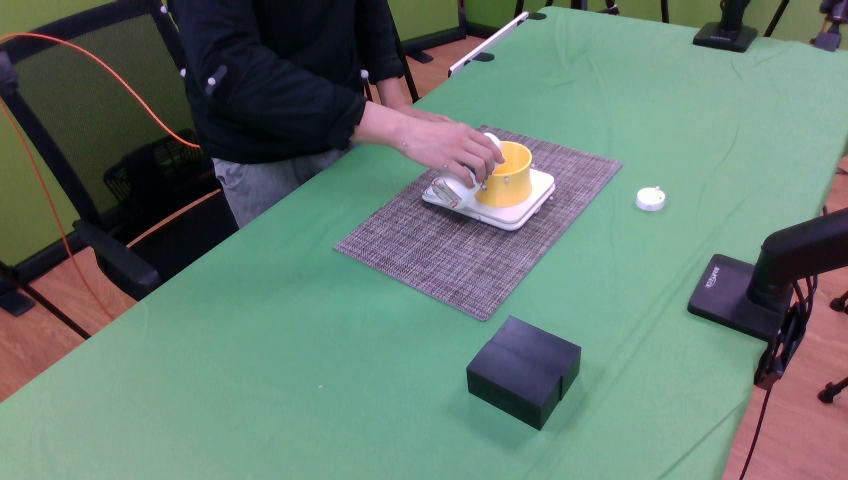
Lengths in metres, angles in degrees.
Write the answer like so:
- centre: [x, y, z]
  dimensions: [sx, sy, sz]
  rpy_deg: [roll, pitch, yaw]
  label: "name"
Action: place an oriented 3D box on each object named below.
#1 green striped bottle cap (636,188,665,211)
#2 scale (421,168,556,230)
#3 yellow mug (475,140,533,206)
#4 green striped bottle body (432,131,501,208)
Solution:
- centre: [0.374, -0.067, 0.998]
  dimensions: [0.044, 0.020, 0.044]
  rpy_deg: [-5, 39, 5]
  label: "green striped bottle cap"
- centre: [0.110, -0.089, 1.042]
  dimensions: [0.199, 0.032, 0.149]
  rpy_deg: [23, 48, 31]
  label: "scale"
- centre: [0.125, -0.121, 1.004]
  dimensions: [0.100, 0.064, 0.130]
  rpy_deg: [-13, 41, -5]
  label: "yellow mug"
- centre: [0.070, -0.110, 0.915]
  dimensions: [0.062, 0.063, 0.119]
  rpy_deg: [26, 66, 32]
  label: "green striped bottle body"
